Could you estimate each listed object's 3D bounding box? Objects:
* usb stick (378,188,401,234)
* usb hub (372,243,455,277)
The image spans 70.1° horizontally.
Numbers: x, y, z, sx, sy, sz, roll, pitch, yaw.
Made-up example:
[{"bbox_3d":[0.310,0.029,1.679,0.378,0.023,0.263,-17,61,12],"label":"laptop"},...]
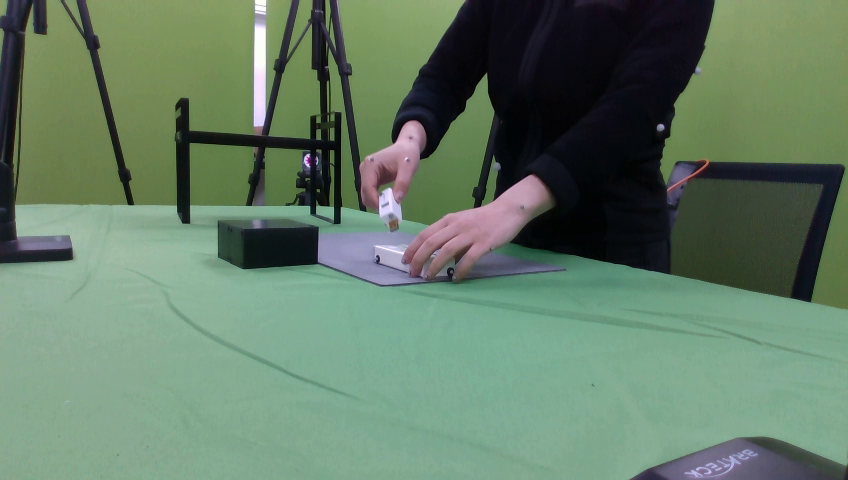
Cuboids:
[{"bbox_3d":[-0.045,-0.037,0.795,0.021,0.059,0.027,-23,-35,24],"label":"usb stick"},{"bbox_3d":[-0.017,0.024,0.775,0.050,0.025,0.124,-3,9,-34],"label":"usb hub"}]
